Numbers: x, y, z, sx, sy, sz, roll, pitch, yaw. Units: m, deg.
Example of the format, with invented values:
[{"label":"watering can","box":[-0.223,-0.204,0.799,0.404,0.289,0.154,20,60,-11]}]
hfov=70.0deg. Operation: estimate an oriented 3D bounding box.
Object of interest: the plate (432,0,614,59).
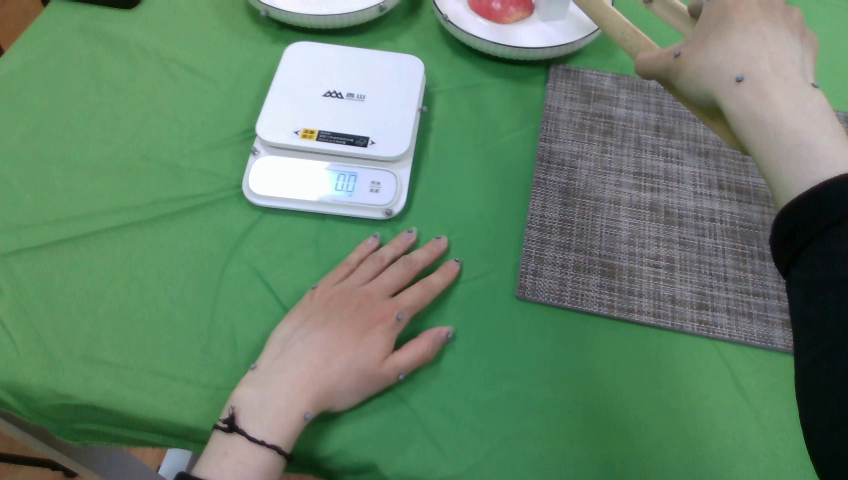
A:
[{"label":"plate","box":[0.111,-0.275,0.700,0.209,0.038,0.207,1,56,-2]}]

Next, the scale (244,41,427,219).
[{"label":"scale","box":[-0.080,-0.112,0.585,0.148,0.032,0.199,7,56,2]}]

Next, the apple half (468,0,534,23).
[{"label":"apple half","box":[0.093,-0.288,0.701,0.081,0.033,0.080,0,53,0]}]

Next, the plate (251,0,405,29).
[{"label":"plate","box":[-0.110,-0.313,0.716,0.208,0.039,0.205,1,56,-1]}]

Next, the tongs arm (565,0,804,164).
[{"label":"tongs arm","box":[0.169,-0.187,0.520,0.028,0.028,0.383,-16,49,-13]}]

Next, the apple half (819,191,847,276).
[{"label":"apple half","box":[0.363,-0.001,0.500,0.053,0.075,0.080,-23,63,-12]}]

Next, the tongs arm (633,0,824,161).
[{"label":"tongs arm","box":[0.195,-0.195,0.525,0.051,0.027,0.380,-21,50,-12]}]
